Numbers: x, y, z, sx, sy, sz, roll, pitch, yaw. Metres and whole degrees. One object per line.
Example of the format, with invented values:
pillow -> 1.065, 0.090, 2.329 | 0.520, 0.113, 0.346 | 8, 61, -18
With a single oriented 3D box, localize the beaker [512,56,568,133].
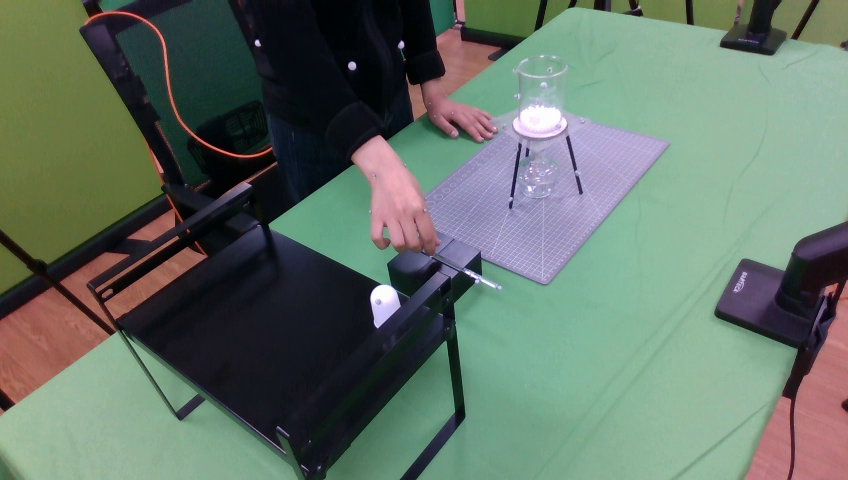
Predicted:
beaker -> 0.181, -0.225, 0.946 | 0.084, 0.101, 0.074 | 3, 41, 12

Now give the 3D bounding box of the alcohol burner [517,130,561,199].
alcohol burner -> 0.193, -0.131, 1.026 | 0.078, 0.119, 0.077 | -4, 38, 4

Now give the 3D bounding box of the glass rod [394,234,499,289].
glass rod -> 0.027, 0.029, 0.874 | 0.198, 0.008, 0.008 | 26, 50, 34

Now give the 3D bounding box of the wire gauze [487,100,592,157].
wire gauze -> 0.185, -0.187, 0.975 | 0.122, 0.011, 0.124 | -28, 47, -22

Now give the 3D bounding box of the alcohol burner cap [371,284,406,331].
alcohol burner cap -> -0.037, 0.065, 0.608 | 0.034, 0.048, 0.033 | -4, 41, 4

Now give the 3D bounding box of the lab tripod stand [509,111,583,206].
lab tripod stand -> 0.198, -0.139, 1.019 | 0.148, 0.132, 0.147 | -3, 39, 3
